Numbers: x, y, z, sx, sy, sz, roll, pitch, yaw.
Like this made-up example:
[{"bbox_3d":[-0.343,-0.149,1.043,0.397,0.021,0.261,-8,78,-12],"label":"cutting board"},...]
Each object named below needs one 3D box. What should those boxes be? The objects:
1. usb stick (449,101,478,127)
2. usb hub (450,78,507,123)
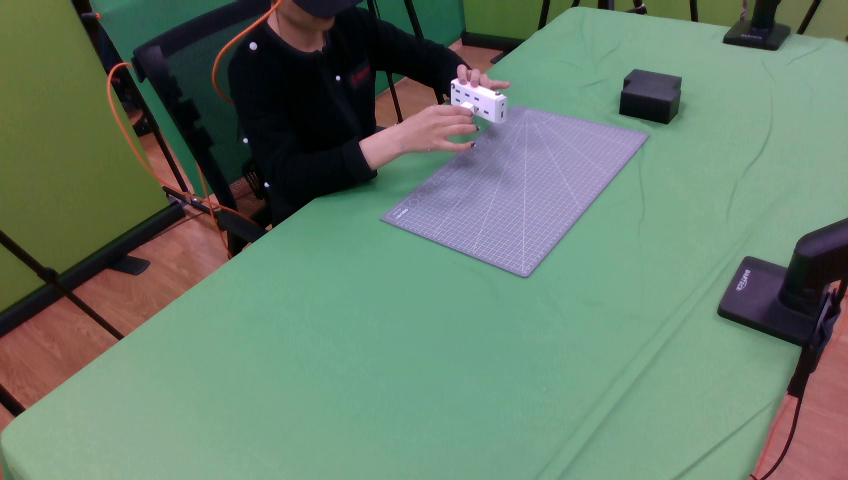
[{"bbox_3d":[0.074,-0.234,1.104,0.059,0.027,0.021,-37,53,-25],"label":"usb stick"},{"bbox_3d":[0.100,-0.260,1.123,0.025,0.050,0.124,-31,46,-31],"label":"usb hub"}]
